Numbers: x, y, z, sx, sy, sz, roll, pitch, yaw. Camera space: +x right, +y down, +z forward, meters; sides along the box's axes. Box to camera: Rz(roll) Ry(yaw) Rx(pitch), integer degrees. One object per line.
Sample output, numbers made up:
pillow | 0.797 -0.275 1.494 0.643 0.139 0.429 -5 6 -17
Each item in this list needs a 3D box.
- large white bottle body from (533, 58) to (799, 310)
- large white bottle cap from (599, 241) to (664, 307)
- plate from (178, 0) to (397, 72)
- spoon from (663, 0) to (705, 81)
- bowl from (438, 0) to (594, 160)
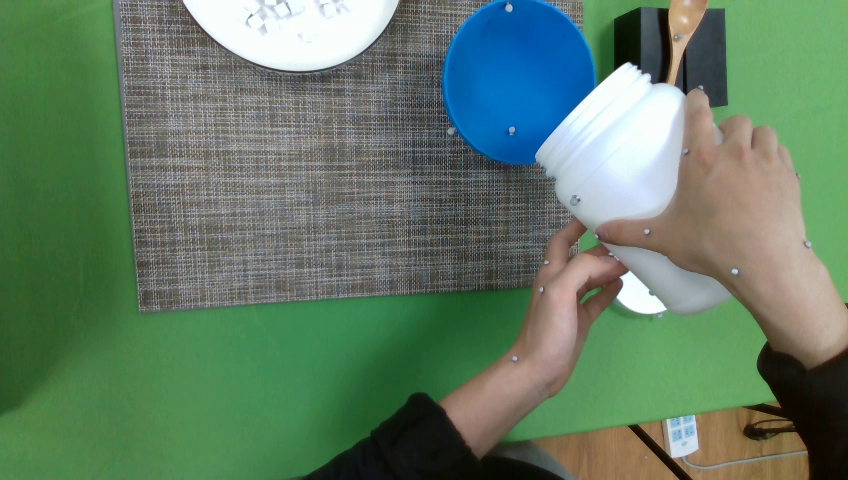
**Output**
large white bottle body | 0.193 -0.049 0.506 0.130 0.131 0.184 -43 84 -6
large white bottle cap | 0.255 0.020 0.690 0.115 0.018 0.115 -2 97 -15
plate | -0.123 -0.254 0.546 0.210 0.038 0.209 -1 93 -15
spoon | 0.246 -0.170 0.618 0.042 0.021 0.194 9 99 -18
bowl | 0.078 -0.152 0.589 0.152 0.076 0.151 -2 97 -14
